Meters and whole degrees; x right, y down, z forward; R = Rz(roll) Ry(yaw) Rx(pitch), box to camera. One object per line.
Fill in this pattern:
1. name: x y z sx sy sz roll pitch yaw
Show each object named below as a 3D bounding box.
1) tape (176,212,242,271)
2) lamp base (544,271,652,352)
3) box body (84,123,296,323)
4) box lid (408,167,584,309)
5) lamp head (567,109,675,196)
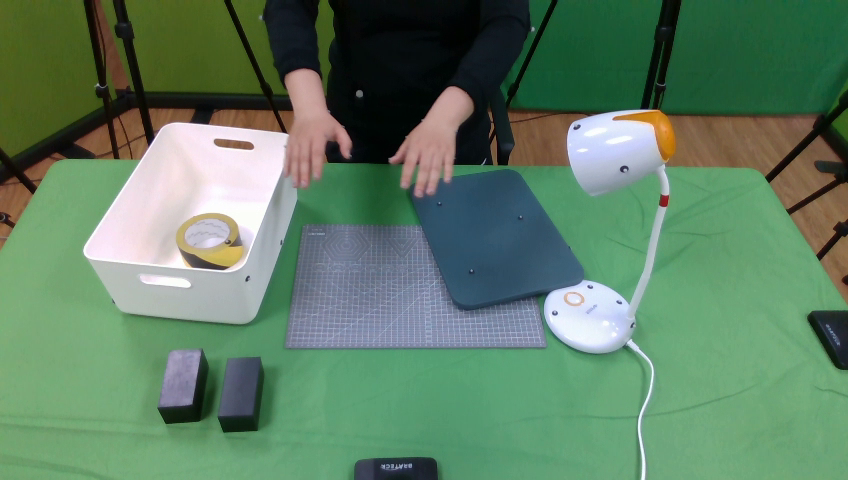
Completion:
1. tape: -0.401 0.005 1.133 0.117 0.053 0.116 2 46 -2
2. lamp base: 0.309 0.086 1.029 0.178 0.181 0.160 32 52 21
3. box body: -0.393 -0.035 1.104 0.254 0.161 0.362 5 46 1
4. box lid: 0.133 -0.018 1.223 0.263 0.015 0.369 -11 45 -12
5. lamp head: 0.272 -0.123 0.818 0.122 0.113 0.112 -9 35 37
